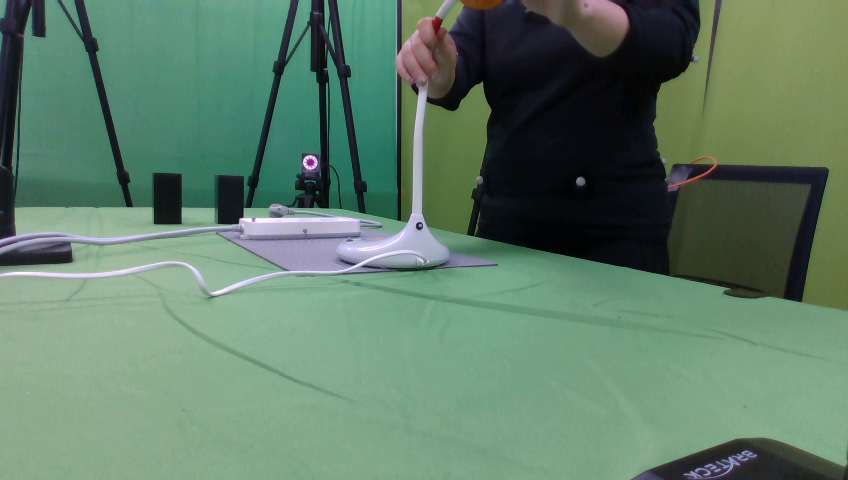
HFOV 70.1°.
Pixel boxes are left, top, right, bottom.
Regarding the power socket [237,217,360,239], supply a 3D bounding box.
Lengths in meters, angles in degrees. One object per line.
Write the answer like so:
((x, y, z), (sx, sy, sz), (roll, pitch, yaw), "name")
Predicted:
((-0.220, -0.023, 1.080), (0.228, 0.032, 0.072), (-2, 8, -33), "power socket")

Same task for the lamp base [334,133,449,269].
((-0.033, -0.057, 0.830), (0.161, 0.180, 0.178), (-3, 12, -36), "lamp base")

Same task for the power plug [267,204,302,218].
((-0.327, -0.060, 1.405), (0.073, 0.035, 0.052), (22, -14, -27), "power plug")

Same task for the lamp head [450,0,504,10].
((0.062, -0.332, 0.704), (0.112, 0.122, 0.112), (1, -9, 0), "lamp head")
